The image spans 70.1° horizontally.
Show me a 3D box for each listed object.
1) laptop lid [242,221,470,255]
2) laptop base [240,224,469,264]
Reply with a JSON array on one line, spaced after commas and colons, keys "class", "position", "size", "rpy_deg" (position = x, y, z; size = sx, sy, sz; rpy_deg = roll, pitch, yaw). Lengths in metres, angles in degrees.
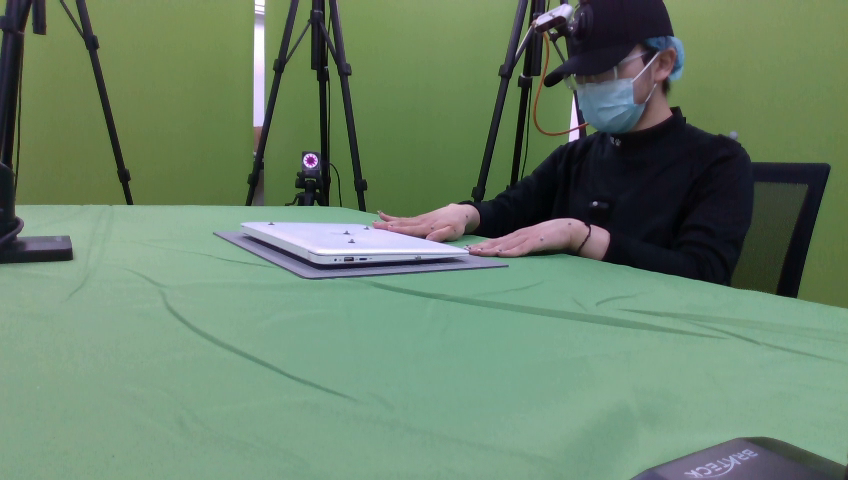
[{"class": "laptop lid", "position": [-0.121, -0.007, 0.936], "size": [0.243, 0.013, 0.355], "rpy_deg": [1, 7, -31]}, {"class": "laptop base", "position": [-0.123, 0.005, 0.936], "size": [0.237, 0.023, 0.352], "rpy_deg": [2, 6, -33]}]
